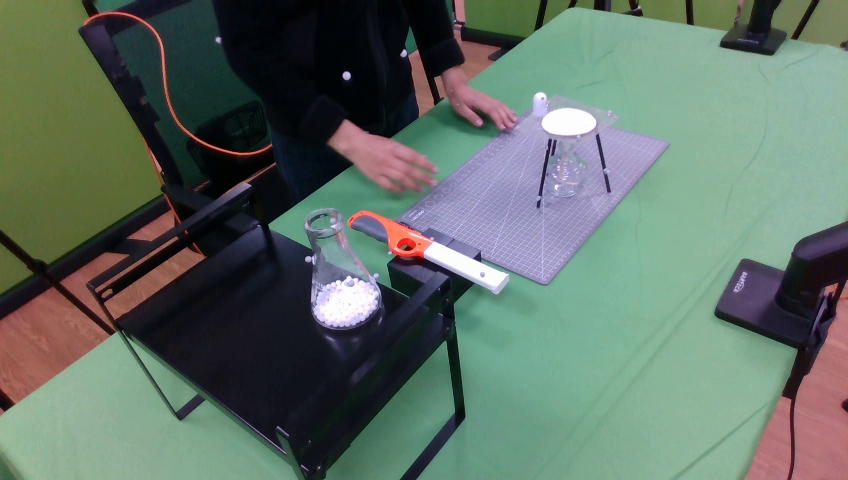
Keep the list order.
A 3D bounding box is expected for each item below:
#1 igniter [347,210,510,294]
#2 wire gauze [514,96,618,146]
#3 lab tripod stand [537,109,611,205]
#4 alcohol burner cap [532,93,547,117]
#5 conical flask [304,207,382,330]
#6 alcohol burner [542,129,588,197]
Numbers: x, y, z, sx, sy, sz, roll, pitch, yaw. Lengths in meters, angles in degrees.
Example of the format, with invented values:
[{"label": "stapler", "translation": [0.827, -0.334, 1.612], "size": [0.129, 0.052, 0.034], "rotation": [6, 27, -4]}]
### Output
[{"label": "igniter", "translation": [-0.002, 0.012, 0.884], "size": [0.274, 0.025, 0.057], "rotation": [24, 53, 28]}, {"label": "wire gauze", "translation": [0.229, -0.190, 0.969], "size": [0.120, 0.011, 0.125], "rotation": [26, 50, 33]}, {"label": "lab tripod stand", "translation": [0.244, -0.141, 1.014], "size": [0.148, 0.132, 0.147], "rotation": [-3, 39, 3]}, {"label": "alcohol burner cap", "translation": [0.240, -0.282, 1.251], "size": [0.034, 0.048, 0.033], "rotation": [-3, 43, 3]}, {"label": "conical flask", "translation": [-0.088, 0.025, 0.601], "size": [0.075, 0.122, 0.075], "rotation": [-5, 40, 5]}, {"label": "alcohol burner", "translation": [0.239, -0.133, 1.021], "size": [0.078, 0.119, 0.077], "rotation": [-4, 38, 4]}]
